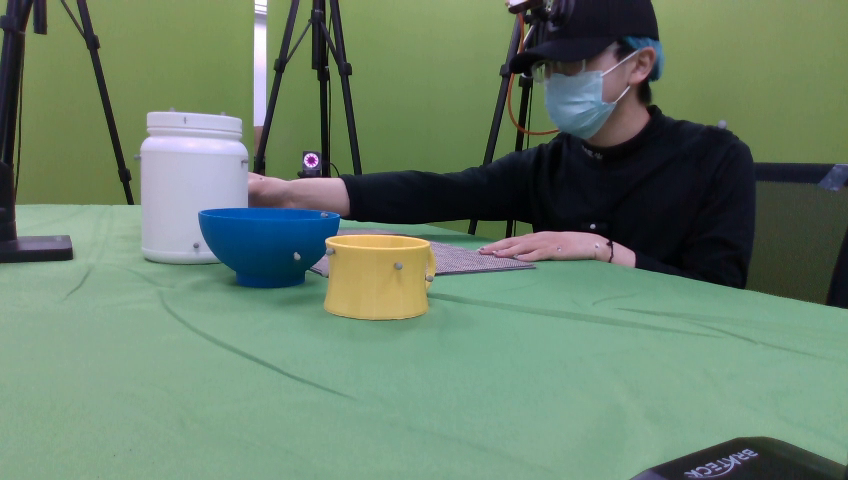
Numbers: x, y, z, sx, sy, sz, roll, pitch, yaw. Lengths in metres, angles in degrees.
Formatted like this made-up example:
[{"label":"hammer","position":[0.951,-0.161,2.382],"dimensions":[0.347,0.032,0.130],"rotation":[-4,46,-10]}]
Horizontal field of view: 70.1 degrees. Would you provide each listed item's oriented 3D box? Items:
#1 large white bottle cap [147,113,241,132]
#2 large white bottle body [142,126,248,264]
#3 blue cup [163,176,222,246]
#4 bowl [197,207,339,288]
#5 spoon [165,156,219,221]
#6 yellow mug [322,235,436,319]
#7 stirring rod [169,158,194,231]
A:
[{"label":"large white bottle cap","position":[-0.297,-0.151,0.786],"dimensions":[0.115,0.018,0.115],"rotation":[2,7,0]},{"label":"large white bottle body","position":[-0.300,-0.068,0.797],"dimensions":[0.131,0.184,0.130],"rotation":[2,7,0]},{"label":"blue cup","position":[-0.357,-0.045,0.930],"dimensions":[0.093,0.100,0.092],"rotation":[5,8,0]},{"label":"bowl","position":[-0.171,0.008,0.671],"dimensions":[0.151,0.077,0.151],"rotation":[2,7,0]},{"label":"spoon","position":[-0.451,-0.104,1.193],"dimensions":[0.041,0.022,0.193],"rotation":[4,51,18]},{"label":"yellow mug","position":[-0.035,0.031,0.581],"dimensions":[0.099,0.064,0.131],"rotation":[8,8,42]},{"label":"stirring rod","position":[-0.424,-0.082,1.060],"dimensions":[0.014,0.006,0.175],"rotation":[2,50,-10]}]
